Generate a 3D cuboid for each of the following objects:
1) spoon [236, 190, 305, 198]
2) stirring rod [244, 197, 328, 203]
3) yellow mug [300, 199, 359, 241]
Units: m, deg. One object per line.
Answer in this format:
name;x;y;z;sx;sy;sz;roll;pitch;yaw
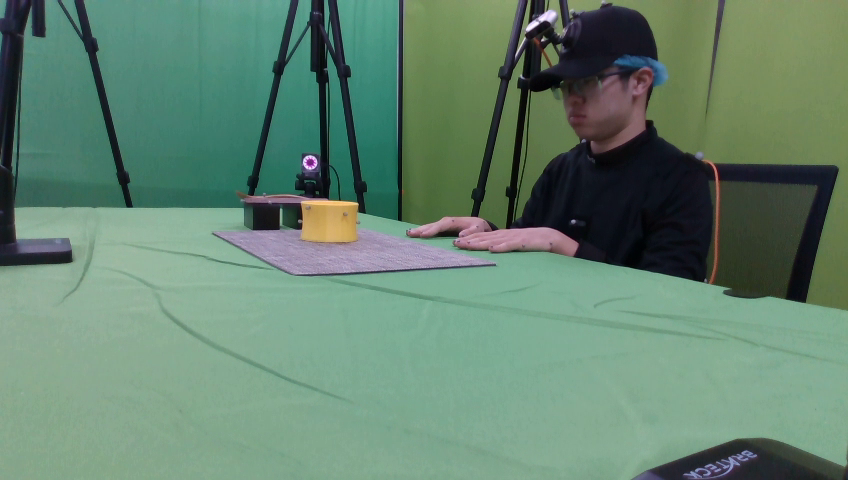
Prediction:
spoon;-0.290;-0.088;1.248;0.195;0.021;0.041;0;6;-32
stirring rod;-0.271;-0.079;1.201;0.177;0.006;0.014;-3;46;-36
yellow mug;-0.157;-0.036;1.060;0.099;0.064;0.131;6;7;27
